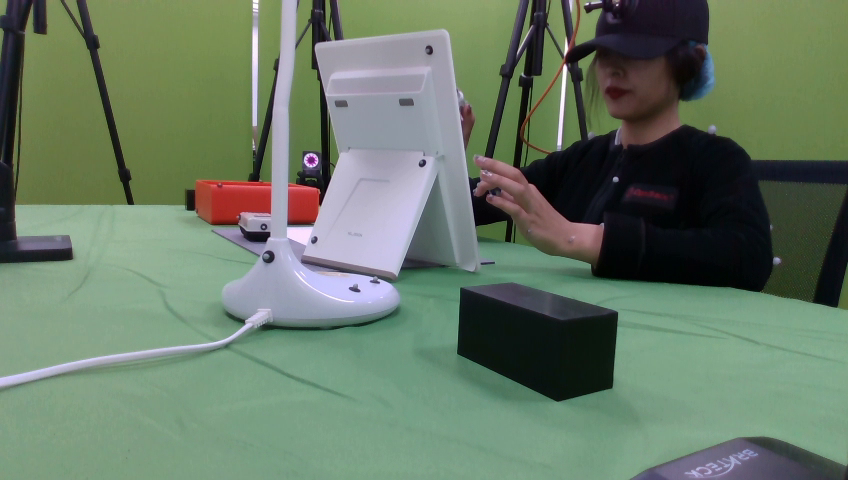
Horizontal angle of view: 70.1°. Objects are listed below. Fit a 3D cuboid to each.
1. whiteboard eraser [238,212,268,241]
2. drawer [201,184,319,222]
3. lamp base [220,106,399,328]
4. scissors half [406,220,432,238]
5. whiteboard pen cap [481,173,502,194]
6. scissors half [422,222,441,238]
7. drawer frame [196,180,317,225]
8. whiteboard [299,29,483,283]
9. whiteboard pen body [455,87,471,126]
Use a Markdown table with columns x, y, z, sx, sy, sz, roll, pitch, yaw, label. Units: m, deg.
| x | y | z | sx | sy | sz | roll | pitch | yaw | label |
| --- | --- | --- | --- | --- | --- | --- | --- | --- | --- |
| -0.272 | -0.023 | 0.998 | 0.056 | 0.042 | 0.112 | -2 | 9 | -24 | whiteboard eraser |
| -0.353 | -0.082 | 1.295 | 0.213 | 0.073 | 0.193 | -2 | 9 | -28 | drawer |
| -0.101 | -0.023 | 0.531 | 0.160 | 0.180 | 0.179 | 4 | 10 | 10 | lamp base |
| -0.006 | -0.022 | 1.214 | 0.040 | 0.013 | 0.174 | 6 | 10 | -15 | scissors half |
| 0.090 | -0.077 | 0.816 | 0.018 | 0.018 | 0.033 | -3 | 39 | -35 | whiteboard pen cap |
| 0.013 | -0.018 | 1.217 | 0.040 | 0.013 | 0.175 | 14 | 9 | 1 | scissors half |
| -0.359 | -0.083 | 1.292 | 0.215 | 0.082 | 0.200 | -2 | 10 | -30 | drawer frame |
| -0.074 | -0.082 | 0.742 | 0.216 | 0.305 | 0.144 | 9 | 29 | 38 | whiteboard |
| 0.054 | -0.197 | 0.893 | 0.017 | 0.017 | 0.141 | 4 | -8 | 11 | whiteboard pen body |
